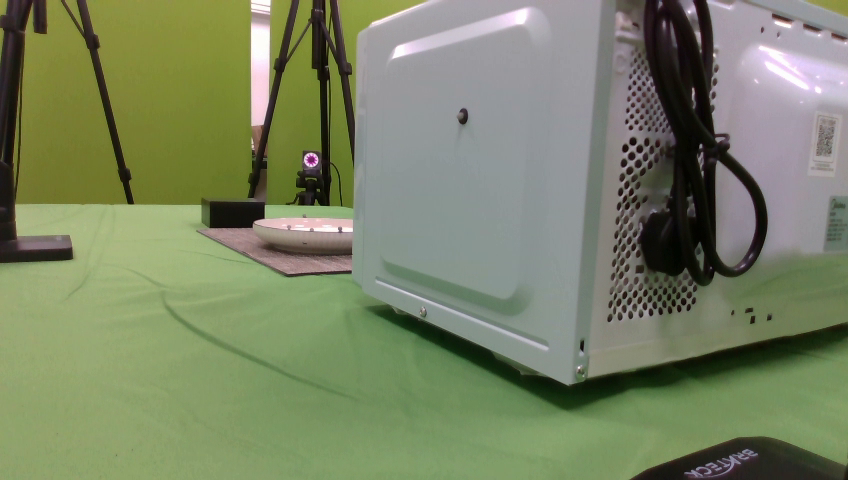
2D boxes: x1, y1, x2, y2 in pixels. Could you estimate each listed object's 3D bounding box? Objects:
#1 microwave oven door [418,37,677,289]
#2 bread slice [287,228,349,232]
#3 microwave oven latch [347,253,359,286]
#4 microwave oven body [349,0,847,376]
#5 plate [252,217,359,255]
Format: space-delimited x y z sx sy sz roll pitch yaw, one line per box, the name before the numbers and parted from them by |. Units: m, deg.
microwave oven door | 0.159 -0.079 0.684 0.358 0.243 0.039 -2 9 -32
bread slice | -0.153 -0.005 0.921 0.132 0.019 0.104 0 7 -30
microwave oven latch | -0.034 0.028 0.581 0.079 0.029 0.030 -1 7 -32
microwave oven body | 0.199 -0.053 0.540 0.444 0.260 0.324 -1 7 -32
plate | -0.155 -0.007 0.924 0.209 0.038 0.209 3 7 0
